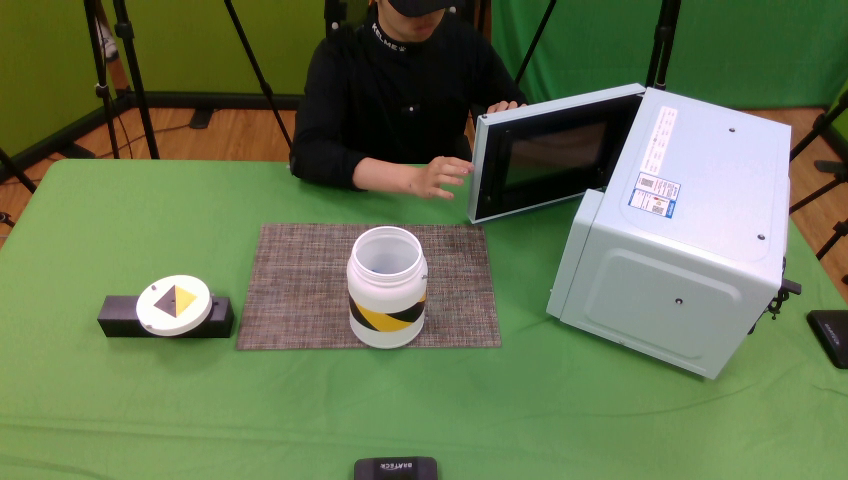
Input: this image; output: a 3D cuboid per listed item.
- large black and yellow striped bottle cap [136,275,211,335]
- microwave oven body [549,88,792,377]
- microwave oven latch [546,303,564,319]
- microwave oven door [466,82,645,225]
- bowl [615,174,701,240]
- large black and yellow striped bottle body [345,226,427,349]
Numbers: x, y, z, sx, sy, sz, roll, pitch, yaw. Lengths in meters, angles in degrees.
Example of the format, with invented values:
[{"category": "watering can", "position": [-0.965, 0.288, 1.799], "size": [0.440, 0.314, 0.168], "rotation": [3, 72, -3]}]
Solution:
[{"category": "large black and yellow striped bottle cap", "position": [-0.412, 0.105, 0.998], "size": [0.115, 0.019, 0.114], "rotation": [3, 46, -3]}, {"category": "microwave oven body", "position": [0.456, -0.028, 1.088], "size": [0.325, 0.261, 0.440], "rotation": [20, 47, 16]}, {"category": "microwave oven latch", "position": [0.242, 0.102, 1.081], "size": [0.030, 0.029, 0.079], "rotation": [21, 48, 17]}, {"category": "microwave oven door", "position": [0.259, -0.172, 1.204], "size": [0.356, 0.245, 0.039], "rotation": [-16, 48, -18]}, {"category": "bowl", "position": [0.435, -0.053, 1.142], "size": [0.151, 0.077, 0.150], "rotation": [-4, 36, 3]}, {"category": "large black and yellow striped bottle body", "position": [-0.062, 0.078, 0.998], "size": [0.131, 0.185, 0.130], "rotation": [2, 46, -2]}]
